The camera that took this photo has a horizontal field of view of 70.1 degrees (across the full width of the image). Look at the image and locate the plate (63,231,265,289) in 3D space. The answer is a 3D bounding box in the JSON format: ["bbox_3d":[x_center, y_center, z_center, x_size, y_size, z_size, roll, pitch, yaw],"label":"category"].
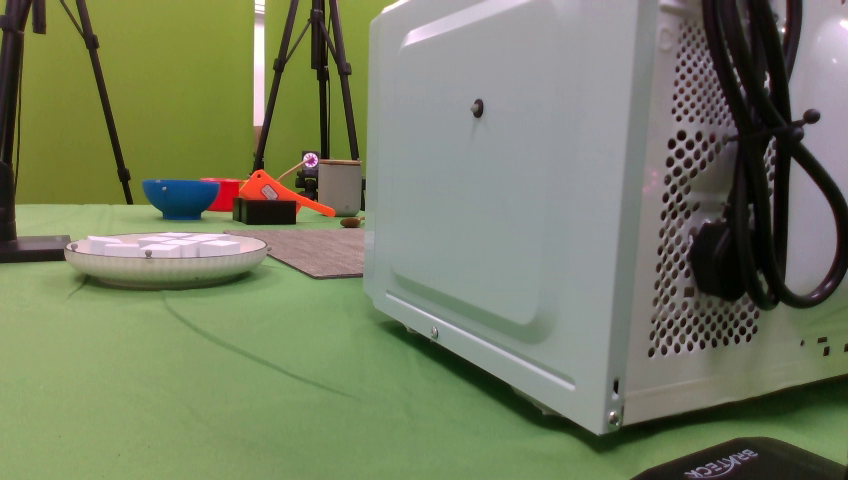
[{"bbox_3d":[-0.288,0.021,0.687,0.208,0.039,0.207,2,8,0],"label":"plate"}]

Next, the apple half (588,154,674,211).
[{"bbox_3d":[0.217,-0.061,0.626,0.075,0.053,0.080,6,8,-20],"label":"apple half"}]

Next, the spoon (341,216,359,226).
[{"bbox_3d":[-0.132,-0.048,1.305,0.041,0.021,0.194,-14,4,14],"label":"spoon"}]

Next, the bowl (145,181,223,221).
[{"bbox_3d":[-0.499,-0.081,1.261,0.151,0.077,0.151,2,8,0],"label":"bowl"}]

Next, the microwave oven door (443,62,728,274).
[{"bbox_3d":[0.189,-0.097,0.785,0.354,0.243,0.039,6,10,31],"label":"microwave oven door"}]

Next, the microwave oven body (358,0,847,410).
[{"bbox_3d":[0.210,-0.051,0.471,0.444,0.260,0.324,-1,7,-28],"label":"microwave oven body"}]

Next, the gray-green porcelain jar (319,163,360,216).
[{"bbox_3d":[-0.204,-0.126,1.490,0.106,0.126,0.106,2,8,0],"label":"gray-green porcelain jar"}]

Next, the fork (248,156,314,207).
[{"bbox_3d":[-0.360,-0.147,1.523,0.207,0.019,0.028,-43,17,-6],"label":"fork"}]

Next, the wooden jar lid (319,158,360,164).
[{"bbox_3d":[-0.203,-0.189,1.482,0.108,0.020,0.108,2,10,0],"label":"wooden jar lid"}]

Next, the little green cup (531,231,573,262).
[{"bbox_3d":[0.185,0.010,0.879,0.061,0.038,0.061,2,8,0],"label":"little green cup"}]

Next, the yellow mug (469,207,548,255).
[{"bbox_3d":[0.137,-0.015,0.951,0.131,0.064,0.099,2,7,-21],"label":"yellow mug"}]

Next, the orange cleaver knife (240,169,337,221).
[{"bbox_3d":[-0.287,-0.081,1.299,0.212,0.077,0.012,25,-2,-31],"label":"orange cleaver knife"}]

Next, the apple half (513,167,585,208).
[{"bbox_3d":[0.141,-0.060,0.655,0.081,0.033,0.081,18,11,-3],"label":"apple half"}]

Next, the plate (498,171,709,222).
[{"bbox_3d":[0.181,-0.047,0.628,0.209,0.038,0.209,2,10,0],"label":"plate"}]

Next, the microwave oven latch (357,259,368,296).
[{"bbox_3d":[-0.019,0.031,0.529,0.079,0.029,0.030,-1,7,-26],"label":"microwave oven latch"}]
